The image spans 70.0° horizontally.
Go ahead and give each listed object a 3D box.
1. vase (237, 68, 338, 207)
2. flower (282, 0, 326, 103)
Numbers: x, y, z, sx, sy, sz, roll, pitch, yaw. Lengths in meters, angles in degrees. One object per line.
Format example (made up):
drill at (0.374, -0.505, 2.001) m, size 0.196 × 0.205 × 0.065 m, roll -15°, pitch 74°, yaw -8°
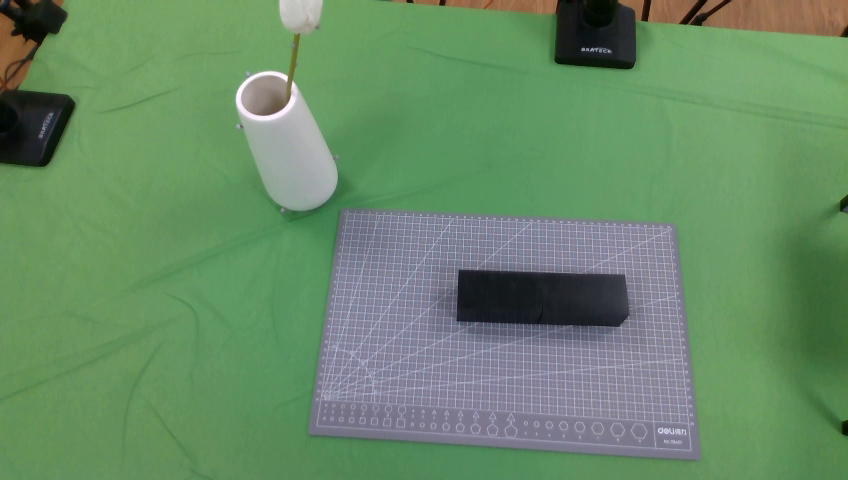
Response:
vase at (-0.168, -0.123, 0.756) m, size 0.098 × 0.201 × 0.097 m, roll 0°, pitch 64°, yaw 1°
flower at (-0.154, -0.159, 0.682) m, size 0.038 × 0.363 × 0.044 m, roll 23°, pitch 60°, yaw -7°
